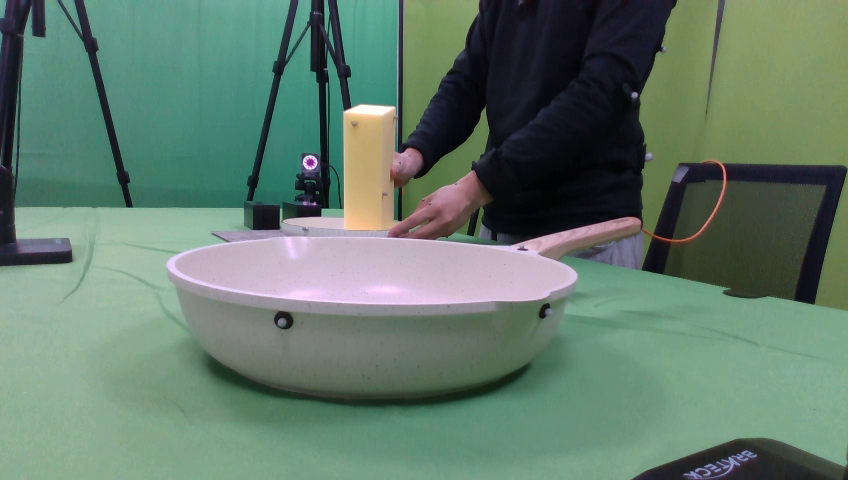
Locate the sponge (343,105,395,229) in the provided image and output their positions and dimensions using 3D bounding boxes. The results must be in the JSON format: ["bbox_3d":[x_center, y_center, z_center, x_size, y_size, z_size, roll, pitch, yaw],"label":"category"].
[{"bbox_3d":[-0.087,-0.109,0.976,0.061,0.207,0.118,4,20,6],"label":"sponge"}]

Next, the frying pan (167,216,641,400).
[{"bbox_3d":[0.046,0.024,0.519,0.490,0.102,0.305,-14,16,-37],"label":"frying pan"}]

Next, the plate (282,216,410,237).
[{"bbox_3d":[-0.126,-0.012,0.986,0.208,0.039,0.207,2,7,0],"label":"plate"}]
